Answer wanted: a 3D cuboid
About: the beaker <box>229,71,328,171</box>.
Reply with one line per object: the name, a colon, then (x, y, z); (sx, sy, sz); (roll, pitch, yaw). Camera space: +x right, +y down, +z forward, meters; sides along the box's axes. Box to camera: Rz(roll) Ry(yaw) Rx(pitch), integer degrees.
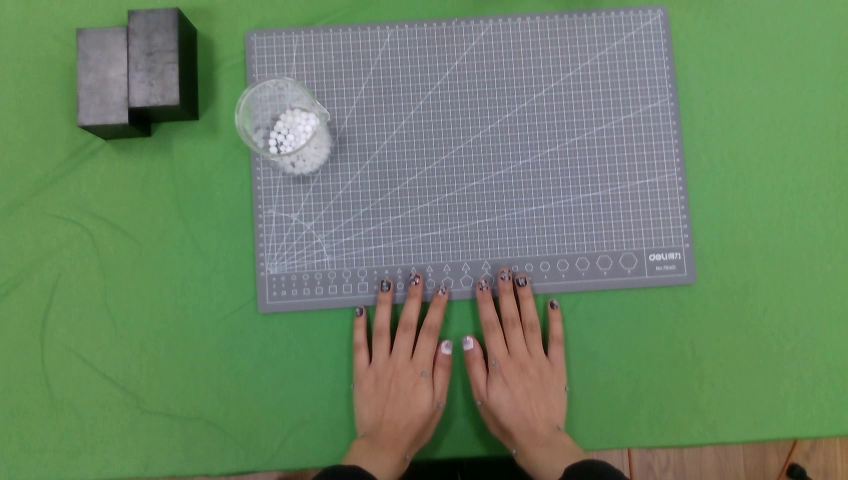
beaker: (-0.131, -0.109, 0.583); (0.084, 0.100, 0.074); (-4, 86, -1)
